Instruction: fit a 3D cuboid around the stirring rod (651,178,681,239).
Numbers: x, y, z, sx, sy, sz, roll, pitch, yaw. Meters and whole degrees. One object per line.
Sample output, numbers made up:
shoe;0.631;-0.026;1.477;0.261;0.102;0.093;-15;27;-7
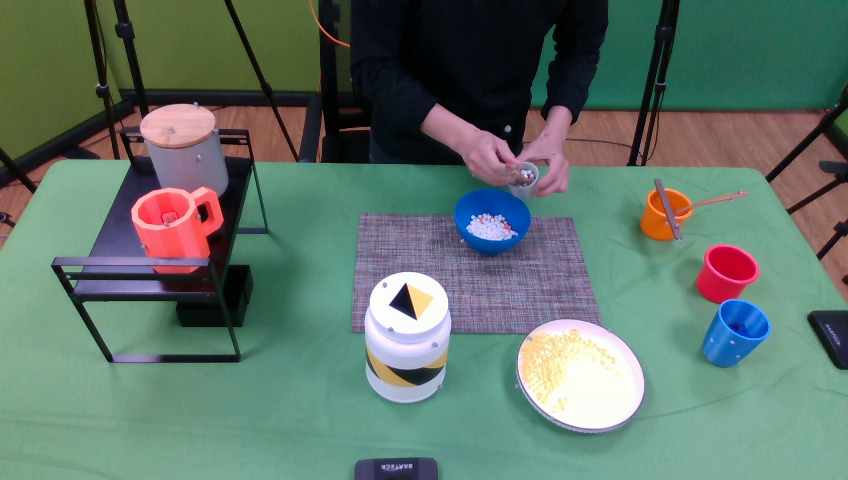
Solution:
stirring rod;0.479;-0.065;1.204;0.014;0.006;0.175;3;46;-4

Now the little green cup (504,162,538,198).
little green cup;0.180;-0.109;1.111;0.061;0.039;0.061;-8;56;12

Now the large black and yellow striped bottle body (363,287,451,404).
large black and yellow striped bottle body;-0.027;0.153;0.935;0.131;0.185;0.130;2;46;-2

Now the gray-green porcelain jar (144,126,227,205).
gray-green porcelain jar;-0.375;-0.126;0.967;0.106;0.127;0.105;2;46;-2

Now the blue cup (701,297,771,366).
blue cup;0.519;0.162;1.025;0.093;0.101;0.092;3;45;-3

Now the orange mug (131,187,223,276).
orange mug;-0.354;-0.022;0.888;0.083;0.101;0.126;31;55;24

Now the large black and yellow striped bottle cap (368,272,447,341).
large black and yellow striped bottle cap;-0.023;0.093;0.875;0.115;0.019;0.114;3;46;-3

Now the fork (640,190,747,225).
fork;0.533;-0.065;1.211;0.207;0.019;0.028;-22;28;39

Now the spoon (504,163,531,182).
spoon;0.154;-0.118;1.029;0.041;0.021;0.194;26;5;15

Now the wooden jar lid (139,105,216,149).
wooden jar lid;-0.372;-0.169;0.920;0.108;0.021;0.107;4;44;-4

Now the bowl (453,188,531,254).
bowl;0.128;-0.025;1.187;0.151;0.077;0.150;3;45;-2

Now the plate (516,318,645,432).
plate;0.253;0.221;0.993;0.209;0.038;0.208;2;46;-2
